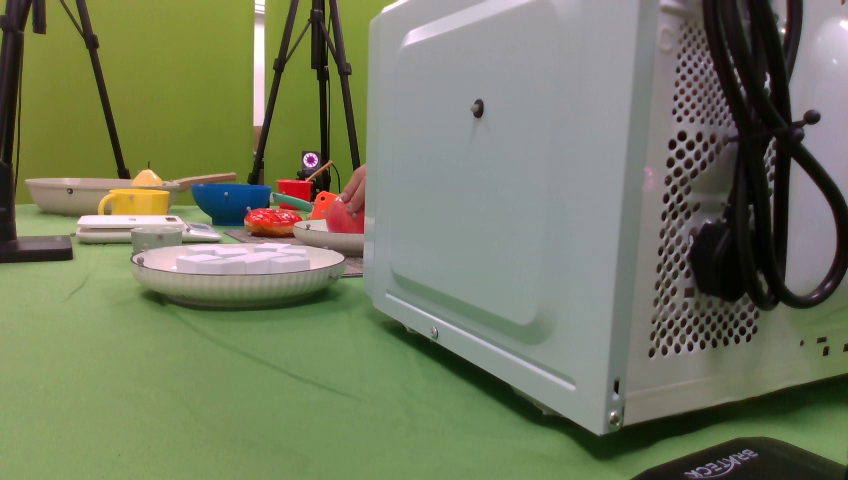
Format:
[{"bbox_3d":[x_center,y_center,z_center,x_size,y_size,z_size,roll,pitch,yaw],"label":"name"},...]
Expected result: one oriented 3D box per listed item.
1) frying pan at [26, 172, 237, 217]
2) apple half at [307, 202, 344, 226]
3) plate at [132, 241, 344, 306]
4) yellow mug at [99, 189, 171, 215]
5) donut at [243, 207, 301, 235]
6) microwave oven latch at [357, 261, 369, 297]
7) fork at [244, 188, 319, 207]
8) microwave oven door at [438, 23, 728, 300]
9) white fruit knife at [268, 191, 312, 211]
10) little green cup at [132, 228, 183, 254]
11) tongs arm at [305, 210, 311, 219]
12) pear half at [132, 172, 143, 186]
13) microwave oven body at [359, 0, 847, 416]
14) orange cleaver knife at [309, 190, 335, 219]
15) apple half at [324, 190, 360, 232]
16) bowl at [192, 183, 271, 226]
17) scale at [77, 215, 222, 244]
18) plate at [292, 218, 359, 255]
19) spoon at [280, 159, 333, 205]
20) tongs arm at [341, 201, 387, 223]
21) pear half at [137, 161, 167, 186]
[{"bbox_3d":[-0.624,-0.118,1.387,0.305,0.102,0.490,8,17,32],"label":"frying pan"},{"bbox_3d":[-0.193,-0.047,1.223,0.081,0.032,0.081,-21,-6,-2],"label":"apple half"},{"bbox_3d":[-0.187,0.033,0.625,0.208,0.039,0.207,2,8,0],"label":"plate"},{"bbox_3d":[-0.519,-0.055,1.080,0.099,0.064,0.131,7,9,26],"label":"yellow mug"},{"bbox_3d":[-0.261,-0.032,1.043,0.099,0.048,0.099,4,9,0],"label":"donut"},{"bbox_3d":[-0.019,0.033,0.530,0.079,0.029,0.030,-1,7,-26],"label":"microwave oven latch"},{"bbox_3d":[-0.356,-0.105,1.526,0.208,0.018,0.028,16,-6,-41],"label":"fork"},{"bbox_3d":[0.181,-0.073,0.621,0.358,0.243,0.039,-2,8,-29],"label":"microwave oven door"},{"bbox_3d":[-0.364,-0.105,1.464,0.208,0.027,0.016,15,-1,-34],"label":"white fruit knife"},{"bbox_3d":[-0.342,0.006,0.779,0.061,0.038,0.061,2,8,0],"label":"little green cup"},{"bbox_3d":[-0.234,-0.067,1.415,0.028,0.028,0.387,-5,7,1],"label":"tongs arm"},{"bbox_3d":[-0.638,-0.113,1.361,0.031,0.088,0.070,5,10,4],"label":"pear half"},{"bbox_3d":[0.211,-0.047,0.474,0.444,0.260,0.324,-1,7,-28],"label":"microwave oven body"},{"bbox_3d":[-0.116,-0.056,1.158,0.212,0.077,0.012,-1,16,-24],"label":"orange cleaver knife"},{"bbox_3d":[-0.107,-0.037,0.883,0.081,0.074,0.053,17,-24,-1],"label":"apple half"},{"bbox_3d":[-0.382,-0.071,1.202,0.151,0.077,0.151,3,7,0],"label":"bowl"},{"bbox_3d":[-0.434,-0.019,0.963,0.202,0.031,0.148,-1,9,-27],"label":"scale"},{"bbox_3d":[-0.098,-0.007,0.928,0.209,0.038,0.209,2,7,0],"label":"plate"},{"bbox_3d":[-0.316,-0.159,1.640,0.194,0.022,0.041,-50,32,-20],"label":"spoon"},{"bbox_3d":[-0.149,-0.069,1.430,0.051,0.026,0.383,-4,8,-14],"label":"tongs arm"},{"bbox_3d":[-0.602,-0.120,1.354,0.056,0.110,0.076,4,11,6],"label":"pear half"}]
